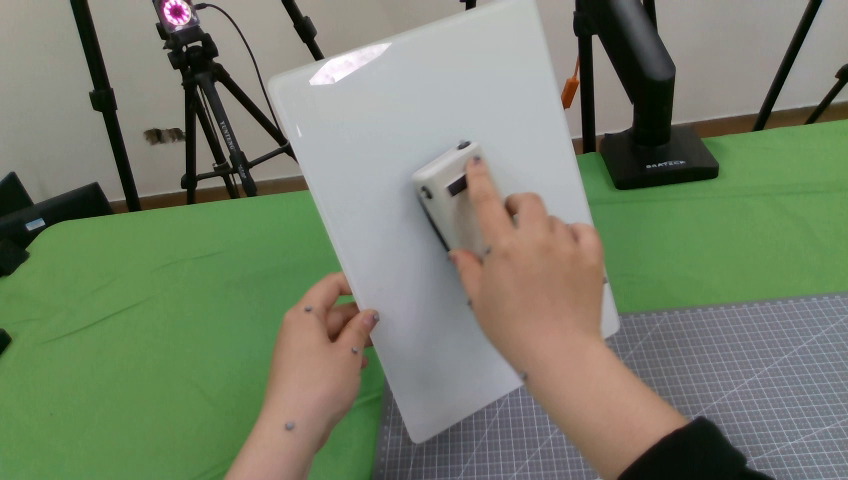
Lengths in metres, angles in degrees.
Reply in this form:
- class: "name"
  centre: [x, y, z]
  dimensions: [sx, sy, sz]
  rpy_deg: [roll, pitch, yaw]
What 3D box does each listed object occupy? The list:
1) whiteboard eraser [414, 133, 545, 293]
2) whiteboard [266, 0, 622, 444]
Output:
- class: "whiteboard eraser"
  centre: [0.042, -0.019, 0.454]
  dimensions: [0.055, 0.113, 0.041]
  rpy_deg: [-36, 19, -14]
- class: "whiteboard"
  centre: [0.014, -0.027, 0.535]
  dimensions: [0.217, 0.307, 0.143]
  rpy_deg: [-25, 18, -16]
